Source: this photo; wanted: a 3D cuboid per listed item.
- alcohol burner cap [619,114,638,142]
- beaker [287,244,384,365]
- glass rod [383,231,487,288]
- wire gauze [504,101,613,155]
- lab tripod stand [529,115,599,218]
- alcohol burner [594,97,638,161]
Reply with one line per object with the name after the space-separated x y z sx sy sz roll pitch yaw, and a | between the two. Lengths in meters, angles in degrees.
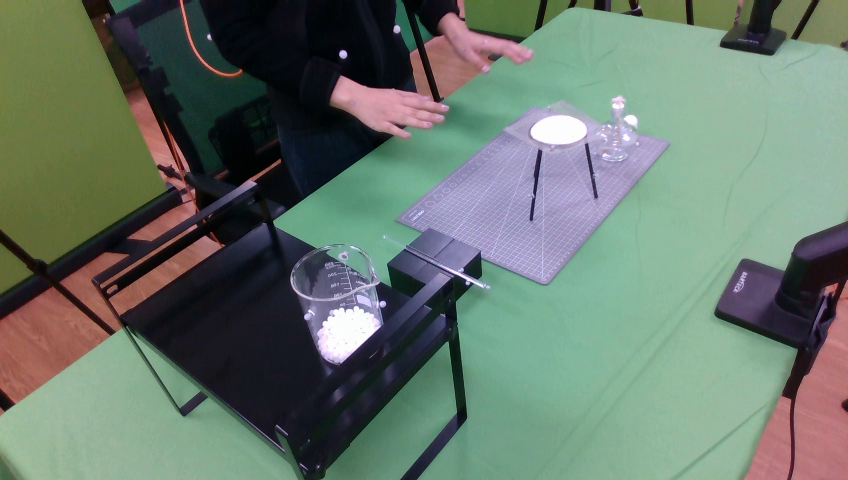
0.388 -0.214 1.145 0.034 0.048 0.033 -3 39 3 | alcohol burner cap
-0.076 0.065 0.574 0.083 0.101 0.074 7 44 15 | beaker
0.012 0.027 0.879 0.198 0.008 0.008 27 51 34 | glass rod
0.211 -0.177 0.955 0.125 0.011 0.120 -24 44 -18 | wire gauze
0.217 -0.123 0.995 0.148 0.132 0.147 -4 42 4 | lab tripod stand
0.345 -0.203 1.083 0.078 0.119 0.077 -5 42 5 | alcohol burner
